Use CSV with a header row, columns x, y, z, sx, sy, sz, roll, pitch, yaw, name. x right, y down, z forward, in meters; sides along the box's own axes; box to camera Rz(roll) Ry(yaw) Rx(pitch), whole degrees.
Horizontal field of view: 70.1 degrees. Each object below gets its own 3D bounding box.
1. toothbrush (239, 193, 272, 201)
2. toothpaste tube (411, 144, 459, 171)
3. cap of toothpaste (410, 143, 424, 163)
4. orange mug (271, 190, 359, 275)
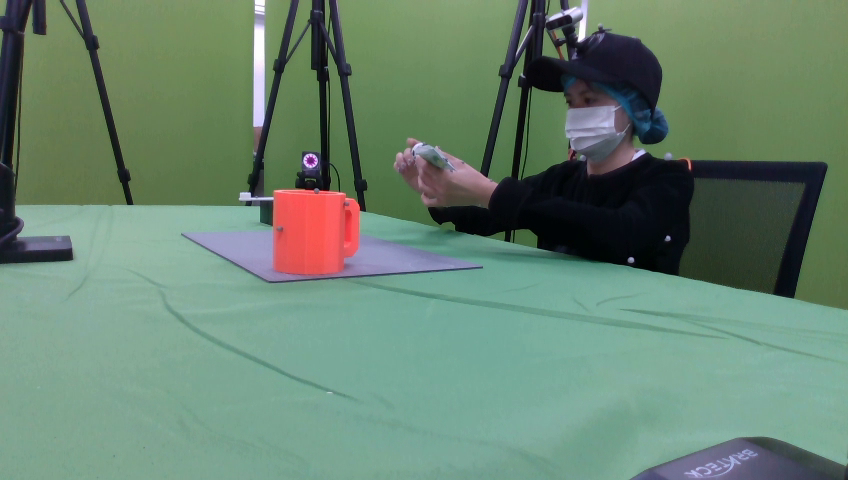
x,y,z,sx,sy,sz,roll,pitch,yaw,name
-0.286,-0.087,1.236,0.183,0.016,0.014,-1,4,-30,toothbrush
0.012,-0.139,0.996,0.055,0.034,0.164,34,1,-20,toothpaste tube
-0.007,-0.155,1.071,0.037,0.037,0.011,0,12,-18,cap of toothpaste
-0.131,-0.013,0.754,0.083,0.101,0.127,8,13,38,orange mug
